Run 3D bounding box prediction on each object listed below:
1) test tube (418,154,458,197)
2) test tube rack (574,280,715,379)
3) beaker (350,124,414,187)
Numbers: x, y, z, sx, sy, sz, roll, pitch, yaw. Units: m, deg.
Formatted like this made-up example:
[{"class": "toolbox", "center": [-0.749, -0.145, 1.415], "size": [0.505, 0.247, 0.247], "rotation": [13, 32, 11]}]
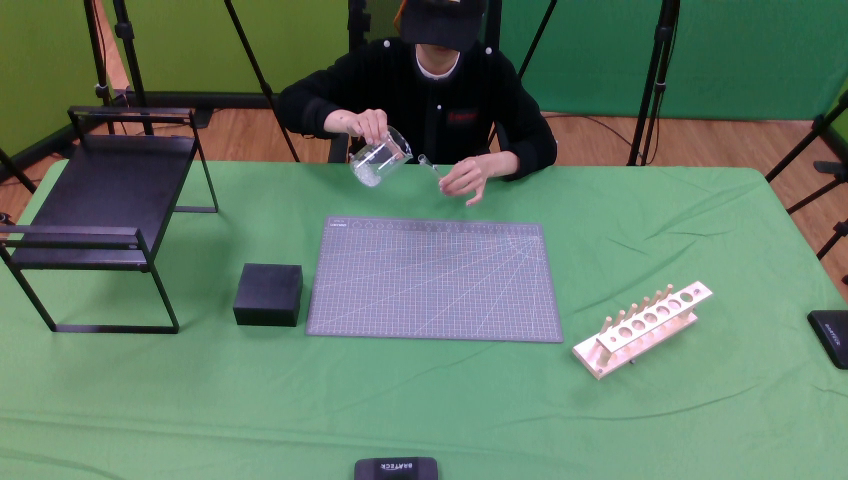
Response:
[{"class": "test tube", "center": [0.030, -0.125, 1.189], "size": [0.017, 0.151, 0.017], "rotation": [-14, 59, 24]}, {"class": "test tube rack", "center": [0.378, 0.140, 1.038], "size": [0.242, 0.085, 0.066], "rotation": [-23, 51, -23]}, {"class": "beaker", "center": [-0.078, -0.150, 1.108], "size": [0.100, 0.084, 0.073], "rotation": [-36, 52, 19]}]
